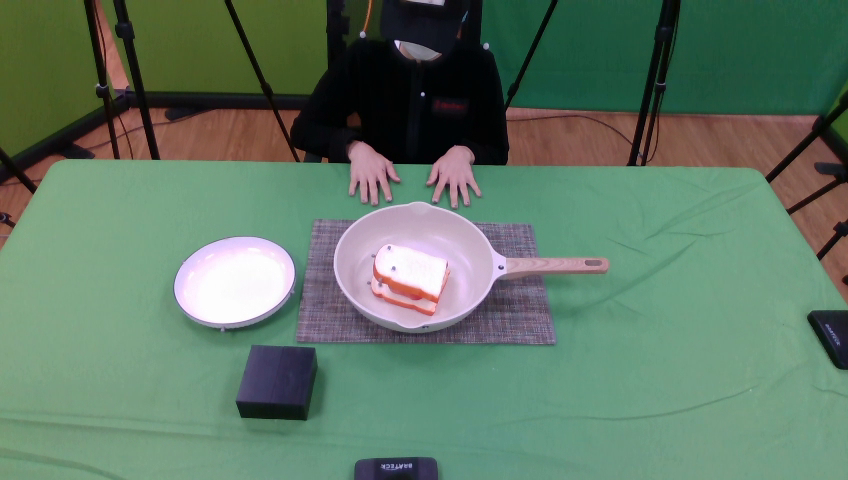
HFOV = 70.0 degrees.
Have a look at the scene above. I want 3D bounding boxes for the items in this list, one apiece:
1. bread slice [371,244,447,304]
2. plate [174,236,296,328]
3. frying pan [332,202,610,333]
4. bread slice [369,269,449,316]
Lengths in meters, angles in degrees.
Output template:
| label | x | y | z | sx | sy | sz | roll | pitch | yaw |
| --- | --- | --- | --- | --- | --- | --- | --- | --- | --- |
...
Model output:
| label | x | y | z | sx | sy | sz | roll | pitch | yaw |
| --- | --- | --- | --- | --- | --- | --- | --- | --- | --- |
| bread slice | -0.028 | 0.054 | 1.072 | 0.131 | 0.019 | 0.104 | 19 | 40 | -3 |
| plate | -0.334 | 0.077 | 1.087 | 0.208 | 0.039 | 0.206 | 2 | 46 | -2 |
| frying pan | 0.085 | 0.052 | 1.093 | 0.488 | 0.103 | 0.305 | -1 | 46 | 6 |
| bread slice | -0.031 | 0.082 | 1.108 | 0.134 | 0.018 | 0.106 | 12 | 45 | 8 |
